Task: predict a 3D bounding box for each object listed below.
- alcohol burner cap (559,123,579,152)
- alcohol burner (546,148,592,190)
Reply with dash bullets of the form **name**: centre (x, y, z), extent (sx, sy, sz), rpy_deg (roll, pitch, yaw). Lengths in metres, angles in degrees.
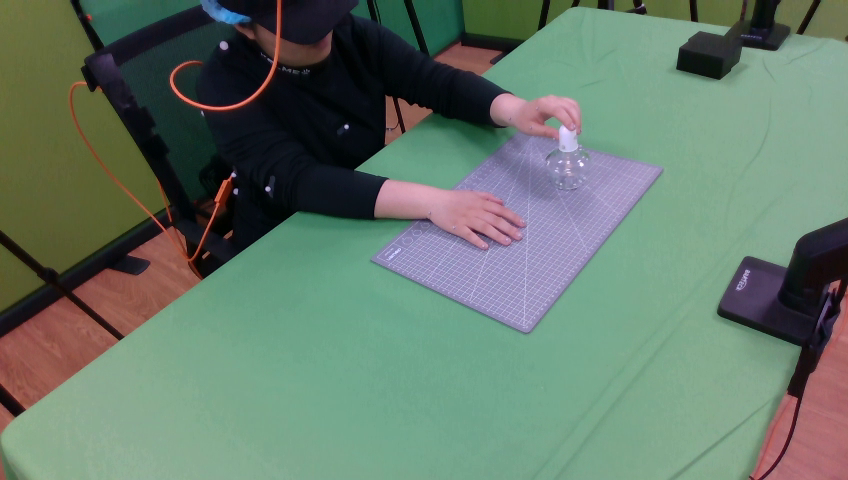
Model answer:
- **alcohol burner cap**: centre (0.241, -0.173, 1.010), extent (0.034, 0.048, 0.033), rpy_deg (-10, 42, 10)
- **alcohol burner**: centre (0.247, -0.146, 1.034), extent (0.078, 0.120, 0.077), rpy_deg (-7, 41, 6)
